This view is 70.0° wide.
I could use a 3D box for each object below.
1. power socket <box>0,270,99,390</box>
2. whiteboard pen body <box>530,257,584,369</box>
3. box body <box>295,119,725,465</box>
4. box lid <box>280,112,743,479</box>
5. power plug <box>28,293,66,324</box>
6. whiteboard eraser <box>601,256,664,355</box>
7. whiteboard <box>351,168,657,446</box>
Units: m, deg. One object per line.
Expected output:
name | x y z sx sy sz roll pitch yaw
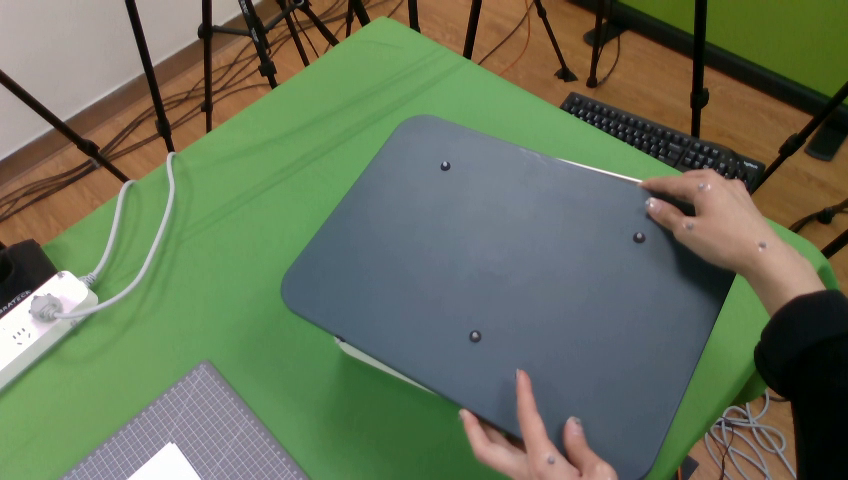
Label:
power socket | -0.514 0.128 0.759 0.071 0.033 0.226 32 64 25
whiteboard pen body | 0.145 0.080 0.666 0.017 0.017 0.140 20 67 21
box body | 0.089 0.048 0.651 0.362 0.162 0.253 19 59 20
box lid | 0.068 0.021 0.561 0.369 0.015 0.262 24 68 23
power plug | -0.461 0.095 0.747 0.035 0.053 0.072 -37 64 -18
whiteboard eraser | 0.232 0.072 0.670 0.055 0.042 0.112 6 56 22
whiteboard | 0.083 0.047 0.666 0.303 0.145 0.216 18 59 22
